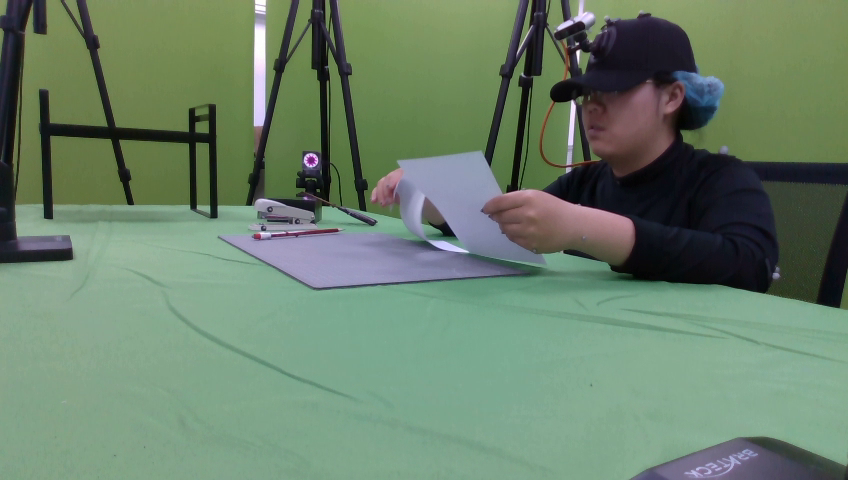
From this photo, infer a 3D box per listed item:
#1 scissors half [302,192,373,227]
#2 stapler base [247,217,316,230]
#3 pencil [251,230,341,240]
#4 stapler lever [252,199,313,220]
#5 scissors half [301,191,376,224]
[{"bbox_3d":[-0.191,-0.069,1.314,0.175,0.013,0.040,26,16,7],"label":"scissors half"},{"bbox_3d":[-0.276,-0.033,1.172,0.131,0.024,0.041,0,10,-37],"label":"stapler base"},{"bbox_3d":[-0.215,-0.011,1.049,0.012,0.012,0.195,9,9,39],"label":"pencil"},{"bbox_3d":[-0.273,-0.058,1.170,0.119,0.040,0.026,0,10,-37],"label":"stapler lever"},{"bbox_3d":[-0.189,-0.073,1.333,0.175,0.013,0.040,22,11,-10],"label":"scissors half"}]
